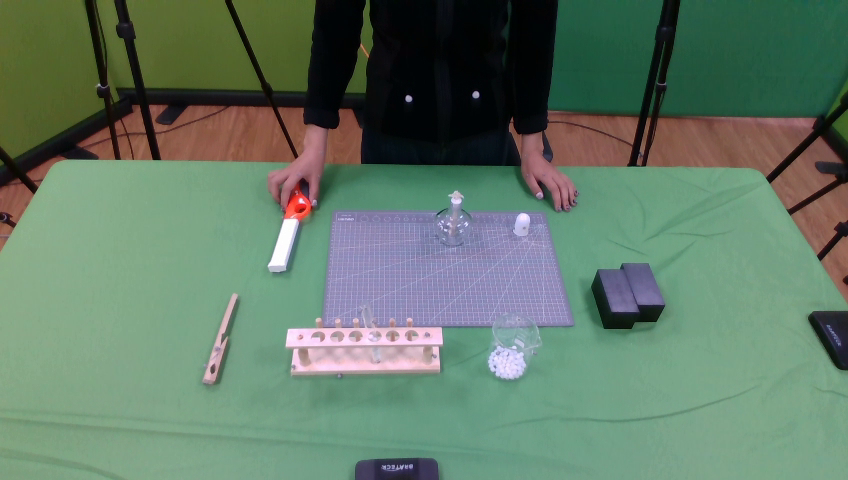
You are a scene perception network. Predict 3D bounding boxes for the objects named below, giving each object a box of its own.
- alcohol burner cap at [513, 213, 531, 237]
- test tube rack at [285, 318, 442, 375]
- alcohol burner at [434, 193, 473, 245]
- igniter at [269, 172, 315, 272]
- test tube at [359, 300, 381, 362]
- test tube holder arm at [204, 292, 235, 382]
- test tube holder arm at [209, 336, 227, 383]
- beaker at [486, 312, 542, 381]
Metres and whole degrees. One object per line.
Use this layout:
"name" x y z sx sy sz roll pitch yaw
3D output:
"alcohol burner cap" 0.200 -0.034 1.227 0.034 0.048 0.033 2 45 -2
"test tube rack" -0.095 0.168 0.986 0.242 0.085 0.066 0 46 -4
"alcohol burner" 0.059 -0.047 1.180 0.078 0.120 0.077 1 48 -1
"igniter" -0.263 -0.045 1.219 0.057 0.025 0.275 -2 45 7
"test tube" -0.083 0.144 0.940 0.017 0.151 0.017 -3 46 3
"test tube holder arm" -0.343 0.159 1.020 0.013 0.015 0.177 27 39 -26
"test tube holder arm" -0.338 0.193 0.991 0.010 0.015 0.087 28 39 -25
"beaker" 0.144 0.177 0.985 0.084 0.101 0.074 22 49 16
